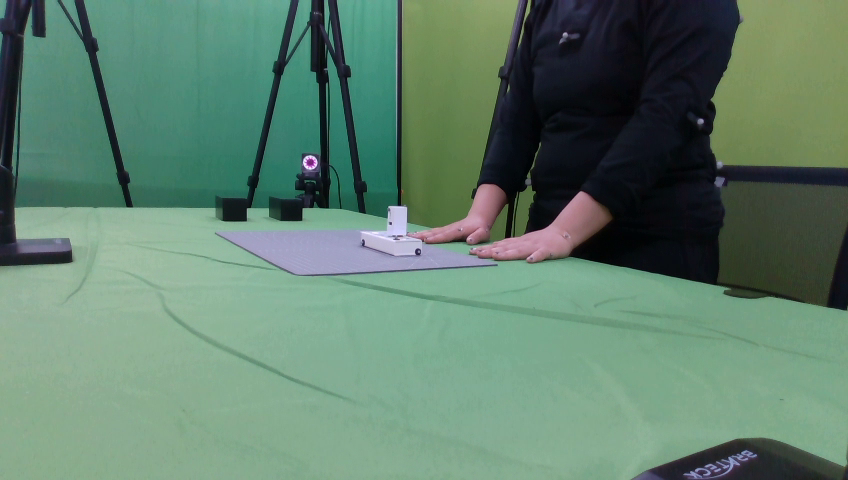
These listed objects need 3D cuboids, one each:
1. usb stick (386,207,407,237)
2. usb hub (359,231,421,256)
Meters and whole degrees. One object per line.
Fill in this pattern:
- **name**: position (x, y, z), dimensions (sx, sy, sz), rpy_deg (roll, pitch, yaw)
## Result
- **usb stick**: position (-0.043, -0.022, 0.937), dimensions (0.027, 0.059, 0.021), rpy_deg (-5, 10, -34)
- **usb hub**: position (-0.056, 0.004, 0.954), dimensions (0.050, 0.025, 0.124), rpy_deg (-2, 8, -31)
